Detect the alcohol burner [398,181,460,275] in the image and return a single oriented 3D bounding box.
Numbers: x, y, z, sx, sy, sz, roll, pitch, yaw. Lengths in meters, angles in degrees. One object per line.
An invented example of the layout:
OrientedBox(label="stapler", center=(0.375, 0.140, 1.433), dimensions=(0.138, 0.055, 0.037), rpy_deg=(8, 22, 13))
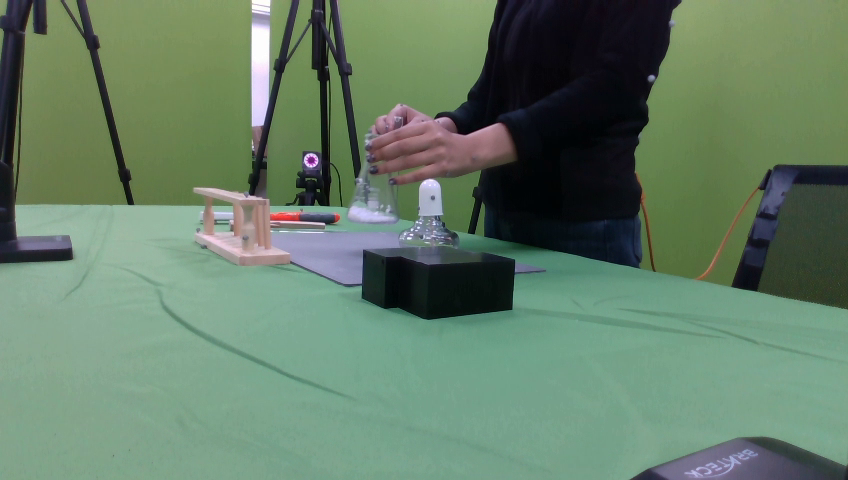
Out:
OrientedBox(label="alcohol burner", center=(0.007, -0.017, 0.751), dimensions=(0.078, 0.119, 0.078), rpy_deg=(3, 9, 0))

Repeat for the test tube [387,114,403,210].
OrientedBox(label="test tube", center=(-0.046, -0.121, 0.950), dimensions=(0.017, 0.150, 0.017), rpy_deg=(5, 13, -1))

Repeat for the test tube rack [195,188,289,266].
OrientedBox(label="test tube rack", center=(-0.266, -0.025, 0.864), dimensions=(0.067, 0.085, 0.241), rpy_deg=(-2, 9, -33))

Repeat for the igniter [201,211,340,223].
OrientedBox(label="igniter", center=(-0.311, -0.048, 1.243), dimensions=(0.278, 0.025, 0.057), rpy_deg=(-1, -2, -24))

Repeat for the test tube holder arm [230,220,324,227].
OrientedBox(label="test tube holder arm", center=(-0.275, -0.030, 1.145), dimensions=(0.179, 0.015, 0.013), rpy_deg=(-2, 44, -31))

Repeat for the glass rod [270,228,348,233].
OrientedBox(label="glass rod", center=(-0.234, -0.017, 1.105), dimensions=(0.201, 0.008, 0.008), rpy_deg=(1, 7, -26))

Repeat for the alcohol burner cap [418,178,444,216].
OrientedBox(label="alcohol burner cap", center=(0.007, -0.053, 0.745), dimensions=(0.034, 0.048, 0.034), rpy_deg=(-3, 6, 1))

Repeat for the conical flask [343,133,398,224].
OrientedBox(label="conical flask", center=(-0.070, -0.083, 0.828), dimensions=(0.075, 0.122, 0.075), rpy_deg=(3, 4, 0))

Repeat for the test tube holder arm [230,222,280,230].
OrientedBox(label="test tube holder arm", center=(-0.312, -0.025, 1.118), dimensions=(0.088, 0.015, 0.010), rpy_deg=(-1, 44, -30))
